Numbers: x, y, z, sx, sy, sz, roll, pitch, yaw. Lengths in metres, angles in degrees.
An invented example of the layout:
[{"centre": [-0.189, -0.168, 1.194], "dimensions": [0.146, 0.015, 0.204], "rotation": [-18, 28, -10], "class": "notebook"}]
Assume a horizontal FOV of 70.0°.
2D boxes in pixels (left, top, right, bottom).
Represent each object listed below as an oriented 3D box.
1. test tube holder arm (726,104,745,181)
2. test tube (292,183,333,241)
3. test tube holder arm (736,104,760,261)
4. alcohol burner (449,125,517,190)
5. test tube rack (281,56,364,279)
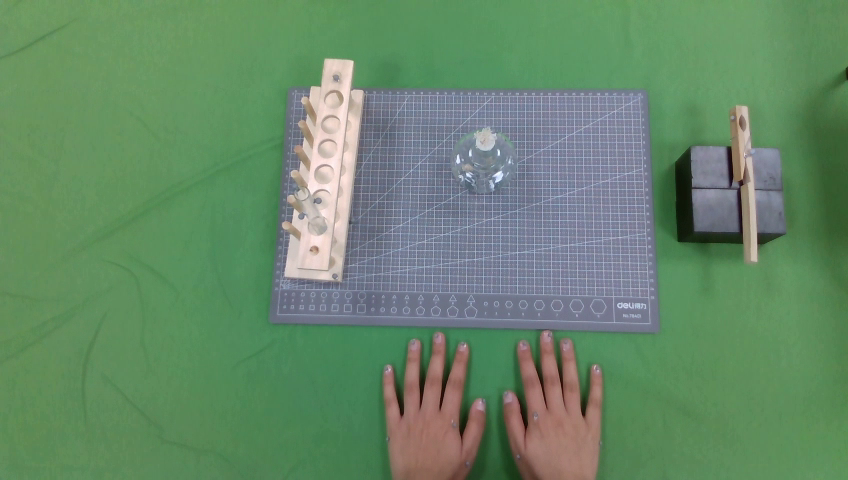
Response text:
[{"centre": [0.349, -0.109, 0.677], "dimensions": [0.010, 0.015, 0.087], "rotation": [1, 78, -3], "class": "test tube holder arm"}, {"centre": [-0.115, -0.025, 0.637], "dimensions": [0.017, 0.151, 0.017], "rotation": [0, 73, 1], "class": "test tube"}, {"centre": [0.355, -0.065, 0.668], "dimensions": [0.013, 0.015, 0.177], "rotation": [0, 78, -3], "class": "test tube holder arm"}, {"centre": [0.067, -0.099, 0.683], "dimensions": [0.078, 0.119, 0.077], "rotation": [-1, 79, 3], "class": "alcohol burner"}, {"centre": [-0.122, -0.083, 0.700], "dimensions": [0.067, 0.085, 0.241], "rotation": [5, 78, 3], "class": "test tube rack"}]
